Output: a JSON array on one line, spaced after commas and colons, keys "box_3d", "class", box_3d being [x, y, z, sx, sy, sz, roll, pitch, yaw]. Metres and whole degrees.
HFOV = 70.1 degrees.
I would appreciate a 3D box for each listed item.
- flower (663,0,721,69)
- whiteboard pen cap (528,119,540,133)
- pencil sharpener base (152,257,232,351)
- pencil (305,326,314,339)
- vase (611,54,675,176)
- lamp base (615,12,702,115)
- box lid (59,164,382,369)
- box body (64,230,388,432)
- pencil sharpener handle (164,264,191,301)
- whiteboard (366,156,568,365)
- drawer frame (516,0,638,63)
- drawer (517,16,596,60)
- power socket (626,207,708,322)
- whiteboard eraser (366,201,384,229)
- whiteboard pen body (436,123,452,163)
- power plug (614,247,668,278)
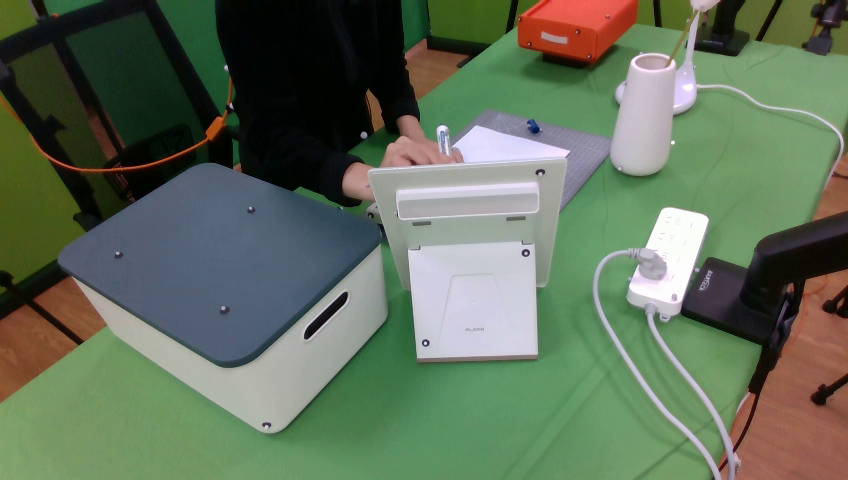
[{"box_3d": [0.379, -0.261, 0.965, 0.044, 0.362, 0.038, 20, 53, 5], "class": "flower"}, {"box_3d": [0.221, -0.229, 1.211, 0.018, 0.018, 0.033, -13, 40, -7], "class": "whiteboard pen cap"}, {"box_3d": [-0.322, 0.088, 0.841, 0.061, 0.107, 0.076, -27, 44, -20], "class": "pencil sharpener base"}, {"box_3d": [-0.187, 0.106, 0.880, 0.012, 0.012, 0.192, -27, 41, -22], "class": "pencil"}, {"box_3d": [0.377, -0.209, 1.031, 0.098, 0.201, 0.097, -3, 40, 3], "class": "vase"}, {"box_3d": [0.484, -0.363, 1.211, 0.180, 0.181, 0.159, -15, 41, -14], "class": "lamp base"}, {"box_3d": [-0.263, 0.010, 0.777, 0.368, 0.015, 0.264, 20, 47, 29], "class": "box lid"}, {"box_3d": [-0.256, 0.065, 0.827, 0.361, 0.161, 0.255, 20, 48, 29], "class": "box body"}, {"box_3d": [-0.354, 0.055, 0.866, 0.036, 0.068, 0.030, -17, 39, -29], "class": "pencil sharpener handle"}, {"box_3d": [0.059, 0.050, 0.738, 0.217, 0.307, 0.143, -2, 60, 6], "class": "whiteboard"}, {"box_3d": [0.355, -0.508, 1.410, 0.200, 0.083, 0.214, 23, 51, 32], "class": "drawer frame"}, {"box_3d": [0.353, -0.506, 1.405, 0.193, 0.073, 0.212, 23, 49, 32], "class": "drawer"}, {"box_3d": [0.359, 0.025, 0.886, 0.072, 0.033, 0.227, 16, 46, 26], "class": "power socket"}, {"box_3d": [-0.038, -0.038, 1.006, 0.112, 0.042, 0.055, 17, 47, 25], "class": "whiteboard eraser"}, {"box_3d": [0.028, -0.097, 0.753, 0.017, 0.017, 0.140, -6, 50, 1], "class": "whiteboard pen body"}, {"box_3d": [0.306, 0.031, 0.851, 0.072, 0.053, 0.035, 24, 49, 33], "class": "power plug"}]
